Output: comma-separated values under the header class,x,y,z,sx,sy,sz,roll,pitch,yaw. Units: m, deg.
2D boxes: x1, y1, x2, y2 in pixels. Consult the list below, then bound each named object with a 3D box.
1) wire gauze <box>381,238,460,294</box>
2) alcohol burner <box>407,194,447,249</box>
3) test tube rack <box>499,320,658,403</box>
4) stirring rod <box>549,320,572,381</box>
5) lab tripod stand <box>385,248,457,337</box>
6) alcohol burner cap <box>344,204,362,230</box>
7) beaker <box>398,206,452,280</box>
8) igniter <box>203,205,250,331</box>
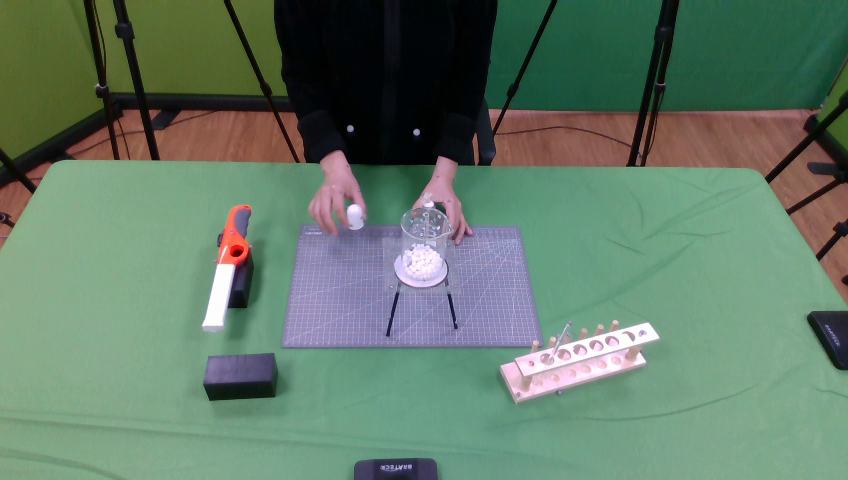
class,x,y,z,sx,sy,sz,roll,pitch,yaw
wire gauze,-0.008,0.042,0.985,0.125,0.011,0.120,-1,43,-2
alcohol burner,0.006,-0.040,1.170,0.078,0.120,0.077,1,46,-1
test tube rack,0.252,0.187,0.994,0.243,0.085,0.066,-12,48,-15
stirring rod,0.202,0.167,0.901,0.006,0.177,0.014,-17,54,-11
lab tripod stand,-0.010,0.087,1.032,0.148,0.132,0.147,1,45,-1
alcohol burner cap,-0.133,-0.045,1.128,0.034,0.048,0.033,2,44,-2
beaker,0.000,0.008,0.950,0.084,0.101,0.073,10,45,6
igniter,-0.345,0.039,1.065,0.057,0.025,0.274,2,48,-6
